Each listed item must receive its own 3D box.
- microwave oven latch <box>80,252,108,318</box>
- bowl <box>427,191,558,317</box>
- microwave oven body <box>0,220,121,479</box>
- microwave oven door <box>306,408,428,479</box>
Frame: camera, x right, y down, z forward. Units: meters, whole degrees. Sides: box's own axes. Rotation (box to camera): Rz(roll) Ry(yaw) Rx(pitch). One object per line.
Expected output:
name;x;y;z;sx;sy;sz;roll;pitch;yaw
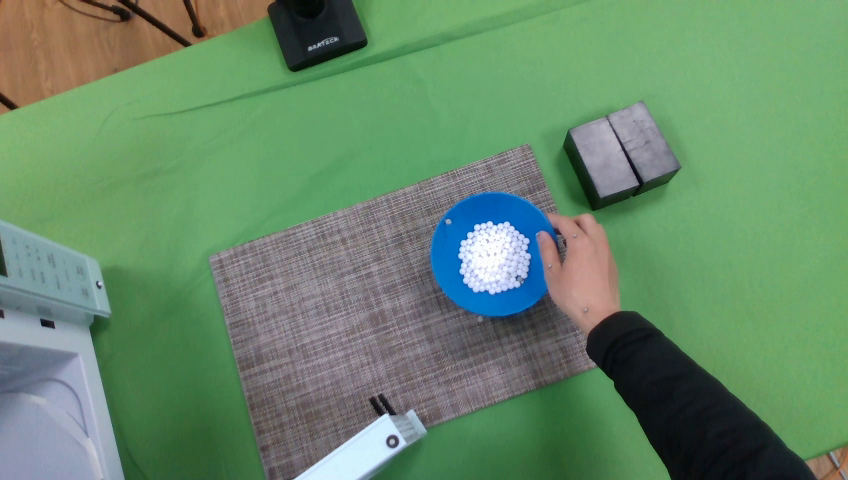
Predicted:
microwave oven latch;-0.425;0.057;0.763;0.030;0.029;0.078;-21;76;-2
bowl;0.081;0.024;0.733;0.151;0.077;0.150;-1;75;4
microwave oven body;-0.507;0.243;0.620;0.326;0.261;0.439;-21;76;-3
microwave oven door;-0.158;0.282;0.583;0.356;0.245;0.039;-35;75;-6
